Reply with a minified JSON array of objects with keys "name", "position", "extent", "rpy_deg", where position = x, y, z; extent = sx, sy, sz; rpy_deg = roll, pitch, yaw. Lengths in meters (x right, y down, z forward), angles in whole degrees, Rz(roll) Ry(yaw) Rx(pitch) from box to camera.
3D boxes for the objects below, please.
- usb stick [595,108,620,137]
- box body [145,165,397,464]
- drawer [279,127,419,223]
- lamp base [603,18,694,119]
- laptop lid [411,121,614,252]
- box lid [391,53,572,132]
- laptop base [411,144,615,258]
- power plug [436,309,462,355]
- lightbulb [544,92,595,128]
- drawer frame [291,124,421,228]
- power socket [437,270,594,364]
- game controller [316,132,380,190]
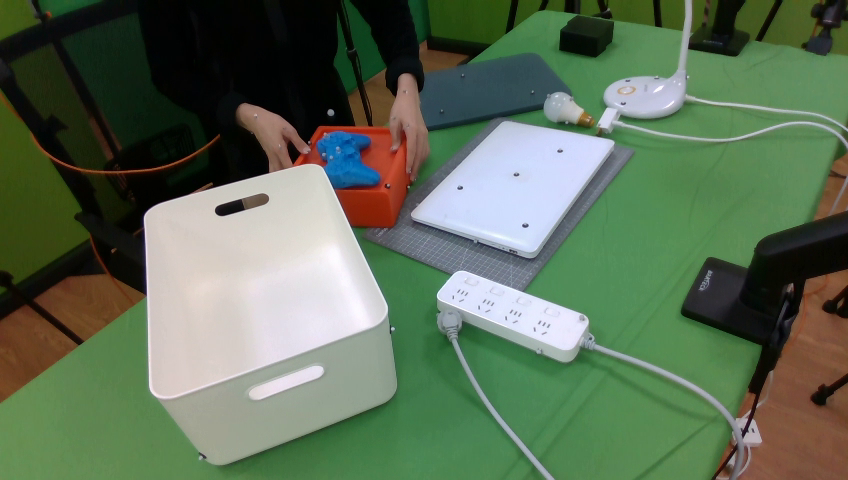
[{"name":"usb stick","position":[0.355,-0.225,1.175],"extent":[0.027,0.022,0.059],"rpy_deg":[29,85,40]},{"name":"box body","position":[-0.205,0.080,0.802],"extent":[0.255,0.161,0.361],"rpy_deg":[-18,41,-13]},{"name":"drawer","position":[-0.127,-0.122,1.089],"extent":[0.194,0.073,0.211],"rpy_deg":[3,41,12]},{"name":"lamp base","position":[0.460,-0.355,1.205],"extent":[0.179,0.181,0.160],"rpy_deg":[2,41,7]},{"name":"laptop lid","position":[0.164,-0.112,1.068],"extent":[0.240,0.013,0.357],"rpy_deg":[19,46,30]},{"name":"box lid","position":[0.122,-0.339,1.366],"extent":[0.372,0.015,0.261],"rpy_deg":[-12,40,-5]},{"name":"laptop base","position":[0.167,-0.102,1.074],"extent":[0.234,0.023,0.355],"rpy_deg":[17,45,30]},{"name":"power plug","position":[0.032,0.126,0.809],"extent":[0.035,0.053,0.072],"rpy_deg":[3,59,7]},{"name":"lightbulb","position":[0.293,-0.256,1.215],"extent":[0.107,0.059,0.059],"rpy_deg":[30,51,16]},{"name":"drawer frame","position":[-0.126,-0.122,1.087],"extent":[0.201,0.083,0.213],"rpy_deg":[4,41,12]},{"name":"power socket","position":[0.118,0.102,0.830],"extent":[0.225,0.033,0.072],"rpy_deg":[20,48,28]},{"name":"game controller","position":[-0.134,-0.142,1.033],"extent":[0.097,0.052,0.154],"rpy_deg":[-15,39,-2]}]
